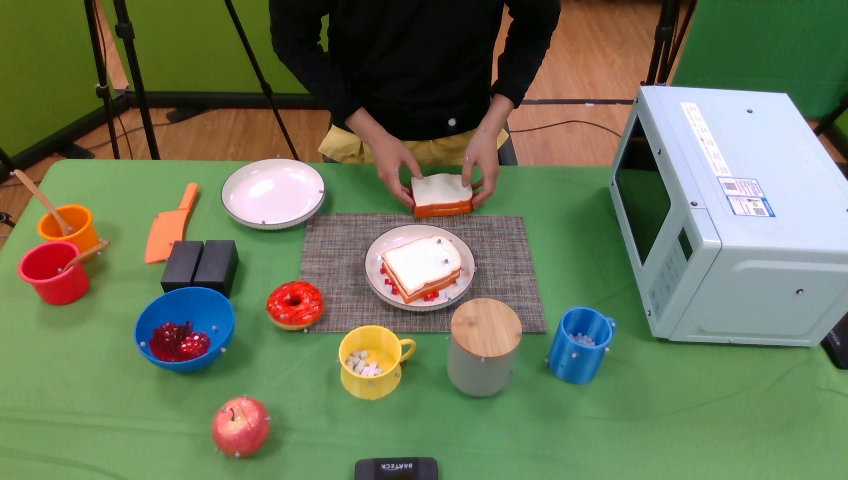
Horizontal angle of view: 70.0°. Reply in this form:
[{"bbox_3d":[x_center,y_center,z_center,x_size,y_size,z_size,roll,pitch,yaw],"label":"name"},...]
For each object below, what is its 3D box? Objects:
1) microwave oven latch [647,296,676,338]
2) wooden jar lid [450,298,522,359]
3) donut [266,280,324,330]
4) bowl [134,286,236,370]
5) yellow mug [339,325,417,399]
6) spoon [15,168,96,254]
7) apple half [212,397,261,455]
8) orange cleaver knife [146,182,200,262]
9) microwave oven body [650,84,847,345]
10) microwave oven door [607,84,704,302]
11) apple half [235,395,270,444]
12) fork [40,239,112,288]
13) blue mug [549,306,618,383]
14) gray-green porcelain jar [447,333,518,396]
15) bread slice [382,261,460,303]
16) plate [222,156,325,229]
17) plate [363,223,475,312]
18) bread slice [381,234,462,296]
[{"bbox_3d":[0.413,0.133,1.060,0.030,0.029,0.078,4,46,2],"label":"microwave oven latch"},{"bbox_3d":[0.093,0.135,0.914,0.108,0.021,0.107,2,48,-3],"label":"wooden jar lid"},{"bbox_3d":[-0.223,0.112,1.051,0.099,0.048,0.098,2,46,-2],"label":"donut"},{"bbox_3d":[-0.377,0.156,0.981,0.151,0.077,0.150,2,46,-2],"label":"bowl"},{"bbox_3d":[-0.072,0.191,0.978,0.131,0.064,0.099,-17,49,-20],"label":"yellow mug"},{"bbox_3d":[-0.675,-0.053,1.109,0.021,0.194,0.041,-14,23,51],"label":"spoon"},{"bbox_3d":[-0.276,0.277,0.877,0.053,0.075,0.080,-29,58,-21],"label":"apple half"},{"bbox_3d":[-0.494,-0.039,1.198,0.077,0.012,0.210,-3,48,2],"label":"orange cleaver knife"},{"bbox_3d":[0.569,-0.054,1.116,0.326,0.261,0.439,2,46,-1],"label":"microwave oven body"},{"bbox_3d":[0.424,-0.096,1.138,0.039,0.245,0.353,3,46,-1],"label":"microwave oven door"},{"bbox_3d":[-0.245,0.260,0.893,0.033,0.082,0.081,-29,55,-22],"label":"apple half"},{"bbox_3d":[-0.591,0.040,1.028,0.207,0.019,0.028,-27,36,29],"label":"fork"},{"bbox_3d":[0.269,0.167,0.997,0.116,0.106,0.082,-19,50,-21],"label":"blue mug"},{"bbox_3d":[0.091,0.178,0.960,0.106,0.127,0.105,2,46,-2],"label":"gray-green porcelain jar"},{"bbox_3d":[0.000,0.055,1.129,0.131,0.019,0.104,-21,51,-21],"label":"bread slice"},{"bbox_3d":[-0.308,-0.095,1.251,0.209,0.038,0.208,2,46,-2],"label":"plate"},{"bbox_3d":[-0.009,0.054,1.126,0.208,0.039,0.206,2,46,-2],"label":"plate"},{"bbox_3d":[0.001,0.038,1.107,0.134,0.018,0.106,-25,56,-23],"label":"bread slice"}]
